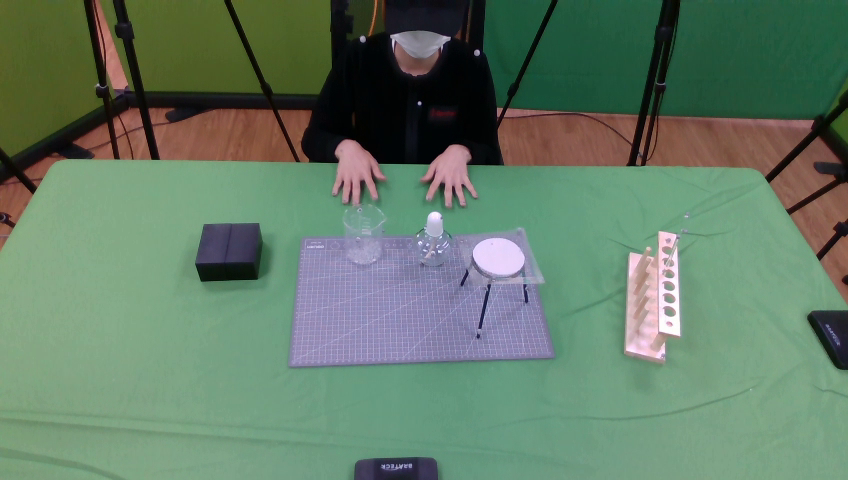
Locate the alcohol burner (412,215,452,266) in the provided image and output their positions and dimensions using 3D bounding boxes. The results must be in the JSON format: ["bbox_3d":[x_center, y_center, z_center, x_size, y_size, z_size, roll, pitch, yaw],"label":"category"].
[{"bbox_3d":[0.017,-0.006,1.139,0.078,0.119,0.077,2,48,-2],"label":"alcohol burner"}]

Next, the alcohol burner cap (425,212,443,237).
[{"bbox_3d":[0.019,-0.032,1.114,0.034,0.048,0.033,0,48,0],"label":"alcohol burner cap"}]

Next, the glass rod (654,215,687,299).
[{"bbox_3d":[0.431,0.034,1.063,0.008,0.201,0.008,0,42,0],"label":"glass rod"}]

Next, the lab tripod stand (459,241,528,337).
[{"bbox_3d":[0.122,0.075,1.054,0.148,0.132,0.147,3,44,-3],"label":"lab tripod stand"}]

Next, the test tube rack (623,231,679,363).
[{"bbox_3d":[0.410,0.094,1.096,0.066,0.085,0.241,13,46,9],"label":"test tube rack"}]

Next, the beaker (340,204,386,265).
[{"bbox_3d":[-0.114,-0.008,1.140,0.084,0.101,0.073,-2,47,-8],"label":"beaker"}]

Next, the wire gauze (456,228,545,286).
[{"bbox_3d":[0.126,0.029,1.006,0.125,0.011,0.120,-4,46,-10],"label":"wire gauze"}]
